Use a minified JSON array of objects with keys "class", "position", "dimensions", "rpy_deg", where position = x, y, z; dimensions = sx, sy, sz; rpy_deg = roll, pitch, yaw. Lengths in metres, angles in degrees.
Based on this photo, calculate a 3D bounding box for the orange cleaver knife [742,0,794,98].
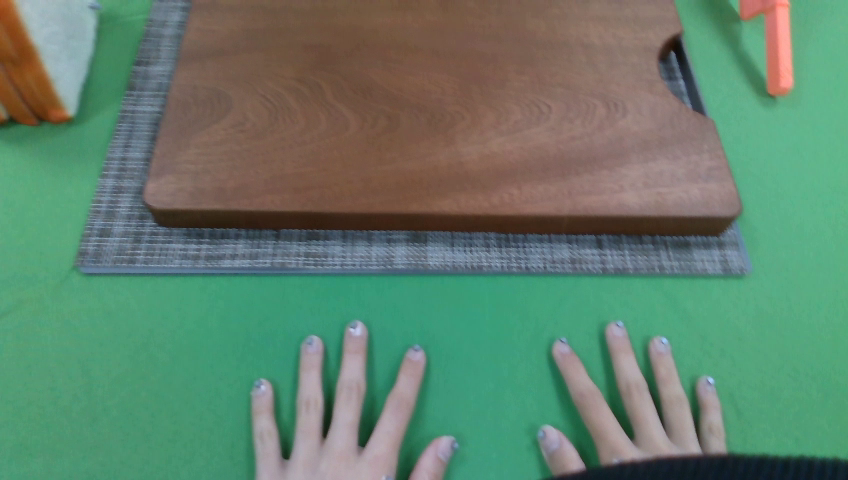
[{"class":"orange cleaver knife","position":[0.296,-0.222,0.521],"dimensions":[0.012,0.077,0.211],"rpy_deg":[2,88,-3]}]

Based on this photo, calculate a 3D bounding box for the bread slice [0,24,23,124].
[{"class":"bread slice","position":[-0.316,-0.163,0.437],"dimensions":[0.018,0.108,0.133],"rpy_deg":[-2,51,-11]}]

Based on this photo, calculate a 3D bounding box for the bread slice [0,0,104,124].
[{"class":"bread slice","position":[-0.266,-0.167,0.442],"dimensions":[0.019,0.106,0.130],"rpy_deg":[-1,53,-7]}]
